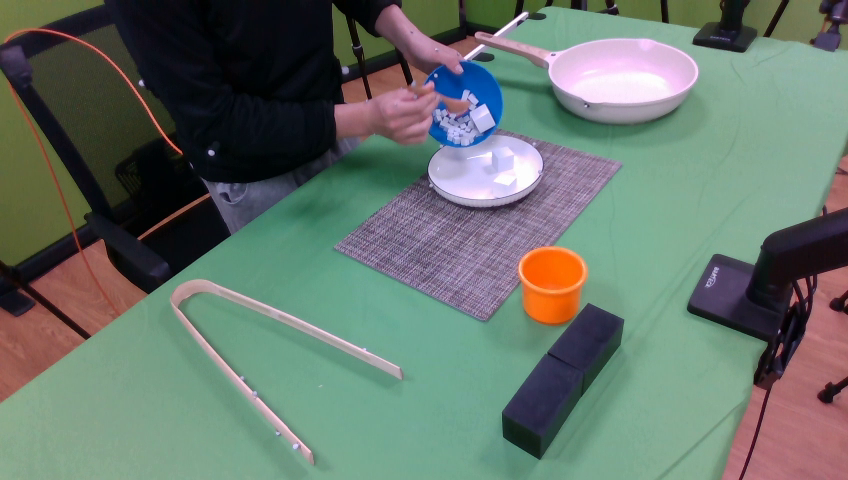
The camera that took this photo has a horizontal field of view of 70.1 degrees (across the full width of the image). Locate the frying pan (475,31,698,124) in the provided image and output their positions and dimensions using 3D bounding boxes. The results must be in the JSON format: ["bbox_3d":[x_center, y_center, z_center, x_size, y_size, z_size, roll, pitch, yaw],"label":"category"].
[{"bbox_3d":[0.320,-0.371,1.290,0.485,0.103,0.307,28,50,23],"label":"frying pan"}]

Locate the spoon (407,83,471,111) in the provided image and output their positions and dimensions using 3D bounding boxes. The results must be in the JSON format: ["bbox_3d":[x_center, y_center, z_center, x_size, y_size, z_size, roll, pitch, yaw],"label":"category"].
[{"bbox_3d":[0.024,-0.233,0.979,0.041,0.195,0.021,-25,77,29],"label":"spoon"}]

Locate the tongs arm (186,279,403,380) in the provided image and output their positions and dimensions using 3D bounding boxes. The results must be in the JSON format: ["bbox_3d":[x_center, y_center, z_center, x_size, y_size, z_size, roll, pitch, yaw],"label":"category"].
[{"bbox_3d":[-0.193,0.120,0.853,0.385,0.028,0.028,17,49,27],"label":"tongs arm"}]

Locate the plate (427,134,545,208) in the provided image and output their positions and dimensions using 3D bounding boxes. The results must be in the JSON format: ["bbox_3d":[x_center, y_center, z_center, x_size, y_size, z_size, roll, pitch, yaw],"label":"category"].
[{"bbox_3d":[0.110,-0.119,1.073,0.207,0.039,0.206,-4,41,4],"label":"plate"}]

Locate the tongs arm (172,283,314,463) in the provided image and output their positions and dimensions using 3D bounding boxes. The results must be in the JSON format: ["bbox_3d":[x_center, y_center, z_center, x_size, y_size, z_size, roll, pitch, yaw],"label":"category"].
[{"bbox_3d":[-0.246,0.161,0.806,0.381,0.026,0.051,29,51,36],"label":"tongs arm"}]

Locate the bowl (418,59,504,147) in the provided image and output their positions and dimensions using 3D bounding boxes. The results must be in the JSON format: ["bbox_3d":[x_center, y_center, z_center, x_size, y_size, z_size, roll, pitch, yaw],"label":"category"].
[{"bbox_3d":[0.064,-0.240,1.086,0.151,0.151,0.077,-7,6,0],"label":"bowl"}]
